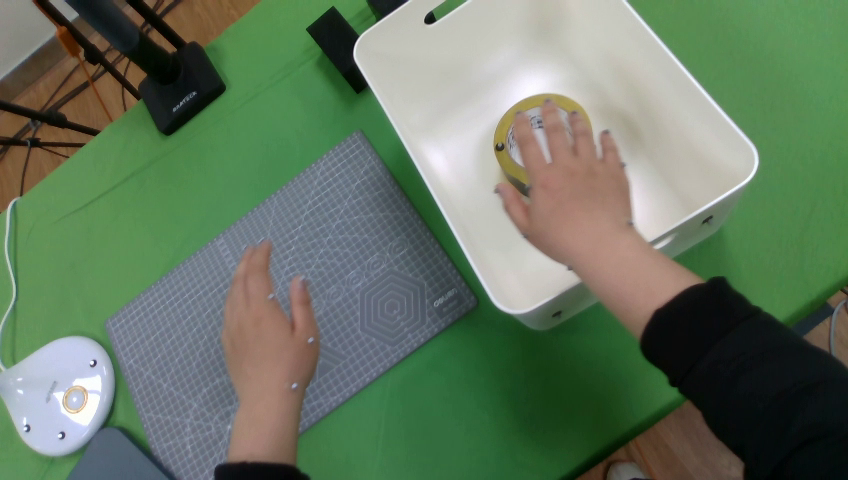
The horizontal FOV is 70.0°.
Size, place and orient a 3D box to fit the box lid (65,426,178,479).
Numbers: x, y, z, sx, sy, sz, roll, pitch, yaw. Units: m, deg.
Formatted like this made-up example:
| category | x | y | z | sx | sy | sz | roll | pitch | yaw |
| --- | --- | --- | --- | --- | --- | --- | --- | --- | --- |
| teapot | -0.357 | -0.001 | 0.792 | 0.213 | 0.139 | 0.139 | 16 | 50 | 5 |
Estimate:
| category | x | y | z | sx | sy | sz | roll | pitch | yaw |
| --- | --- | --- | --- | --- | --- | --- | --- | --- | --- |
| box lid | -0.341 | 0.425 | 0.719 | 0.368 | 0.015 | 0.263 | 30 | 85 | 23 |

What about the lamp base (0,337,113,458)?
| category | x | y | z | sx | sy | sz | roll | pitch | yaw |
| --- | --- | --- | --- | --- | --- | --- | --- | --- | --- |
| lamp base | -0.527 | 0.190 | 0.759 | 0.178 | 0.182 | 0.160 | 1 | 73 | 21 |

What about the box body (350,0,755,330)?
| category | x | y | z | sx | sy | sz | roll | pitch | yaw |
| --- | --- | --- | --- | --- | --- | --- | --- | --- | --- |
| box body | 0.120 | -0.112 | 0.652 | 0.254 | 0.162 | 0.361 | -32 | 66 | 6 |

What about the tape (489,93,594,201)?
| category | x | y | z | sx | sy | sz | roll | pitch | yaw |
| --- | --- | --- | --- | --- | --- | --- | --- | --- | --- |
| tape | 0.134 | -0.108 | 0.700 | 0.116 | 0.053 | 0.116 | -5 | 72 | 16 |
